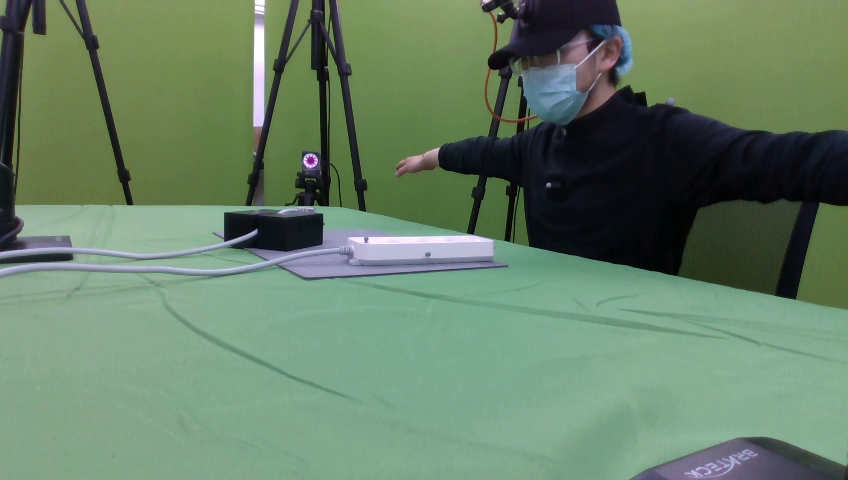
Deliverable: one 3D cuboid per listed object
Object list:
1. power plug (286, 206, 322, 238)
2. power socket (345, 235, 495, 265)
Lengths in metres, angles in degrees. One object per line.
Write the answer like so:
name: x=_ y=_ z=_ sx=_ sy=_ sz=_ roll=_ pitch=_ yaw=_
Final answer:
power plug: x=-0.203 y=-0.029 z=1.001 sx=0.073 sy=0.052 sz=0.035 roll=-1 pitch=4 yaw=-41
power socket: x=-0.003 y=0.012 z=0.851 sx=0.228 sy=0.032 sz=0.072 roll=-2 pitch=7 yaw=-26
